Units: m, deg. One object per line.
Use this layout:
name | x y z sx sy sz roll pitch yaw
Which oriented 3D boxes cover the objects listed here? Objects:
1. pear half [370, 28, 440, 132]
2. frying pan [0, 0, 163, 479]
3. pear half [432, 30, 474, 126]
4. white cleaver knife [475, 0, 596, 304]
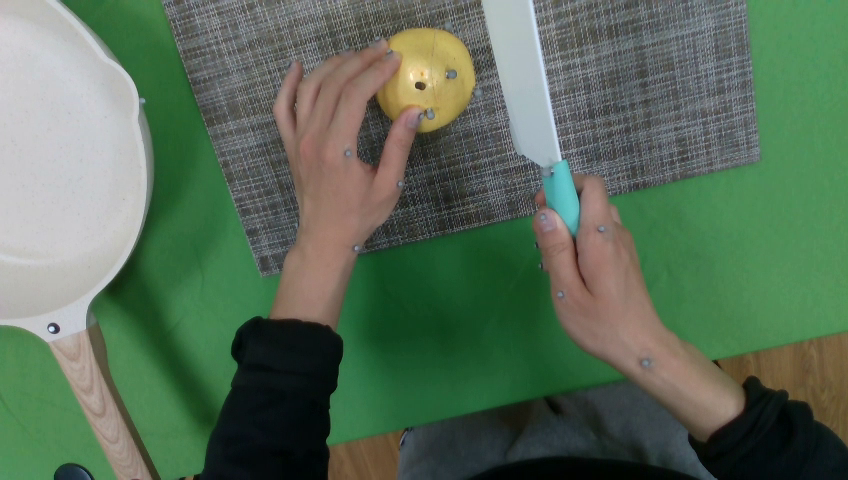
pear half | -0.013 -0.116 0.449 0.056 0.109 0.076 -9 104 7
frying pan | -0.324 0.023 0.510 0.306 0.102 0.489 -17 99 8
pear half | 0.022 -0.123 0.456 0.031 0.087 0.071 -8 104 4
white cleaver knife | 0.072 -0.070 0.393 0.021 0.065 0.289 -28 125 -10
